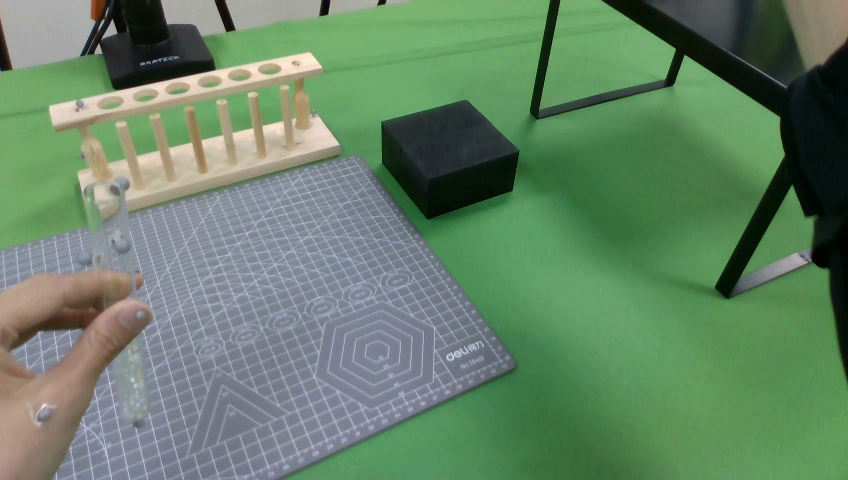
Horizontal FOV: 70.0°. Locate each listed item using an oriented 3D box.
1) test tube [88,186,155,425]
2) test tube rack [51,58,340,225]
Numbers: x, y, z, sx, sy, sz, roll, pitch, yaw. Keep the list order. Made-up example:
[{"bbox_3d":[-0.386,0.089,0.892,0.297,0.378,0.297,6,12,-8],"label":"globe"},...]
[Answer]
[{"bbox_3d":[-0.142,0.040,0.289,0.017,0.151,0.017,9,37,-6],"label":"test tube"},{"bbox_3d":[-0.208,-0.100,0.587,0.243,0.086,0.066,-19,48,-22],"label":"test tube rack"}]
